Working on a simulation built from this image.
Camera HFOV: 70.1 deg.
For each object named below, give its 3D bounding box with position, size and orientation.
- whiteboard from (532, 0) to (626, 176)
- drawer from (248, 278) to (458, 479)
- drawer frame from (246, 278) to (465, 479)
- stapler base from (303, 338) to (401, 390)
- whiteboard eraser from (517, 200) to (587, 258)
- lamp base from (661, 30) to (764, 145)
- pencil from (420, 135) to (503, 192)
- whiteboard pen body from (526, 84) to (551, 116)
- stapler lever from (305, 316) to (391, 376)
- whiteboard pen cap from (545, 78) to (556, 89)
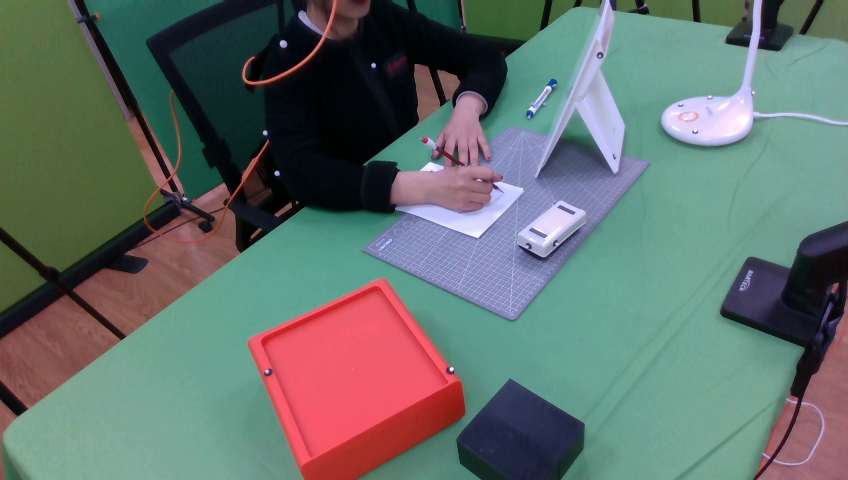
[{"bbox_3d":[0.321,-0.258,1.050,0.144,0.306,0.217,21,45,5],"label":"whiteboard"},{"bbox_3d":[-0.092,0.168,0.756,0.195,0.073,0.210,-24,43,-18],"label":"drawer"},{"bbox_3d":[-0.088,0.168,0.752,0.202,0.083,0.211,-24,43,-18],"label":"drawer frame"},{"bbox_3d":[-0.096,0.159,0.812,0.131,0.024,0.041,-17,43,-17],"label":"stapler base"},{"bbox_3d":[0.201,-0.016,0.943,0.113,0.042,0.055,-37,46,-29],"label":"whiteboard eraser"},{"bbox_3d":[0.535,-0.287,1.096,0.179,0.181,0.159,-10,40,-4],"label":"lamp base"},{"bbox_3d":[0.067,-0.124,1.012,0.012,0.196,0.012,-33,42,36],"label":"pencil"},{"bbox_3d":[0.251,-0.305,1.298,0.017,0.017,0.141,15,45,26],"label":"whiteboard pen body"},{"bbox_3d":[-0.099,0.137,0.789,0.118,0.040,0.026,-23,45,-12],"label":"stapler lever"},{"bbox_3d":[0.280,-0.344,1.335,0.018,0.018,0.033,15,45,26],"label":"whiteboard pen cap"}]
